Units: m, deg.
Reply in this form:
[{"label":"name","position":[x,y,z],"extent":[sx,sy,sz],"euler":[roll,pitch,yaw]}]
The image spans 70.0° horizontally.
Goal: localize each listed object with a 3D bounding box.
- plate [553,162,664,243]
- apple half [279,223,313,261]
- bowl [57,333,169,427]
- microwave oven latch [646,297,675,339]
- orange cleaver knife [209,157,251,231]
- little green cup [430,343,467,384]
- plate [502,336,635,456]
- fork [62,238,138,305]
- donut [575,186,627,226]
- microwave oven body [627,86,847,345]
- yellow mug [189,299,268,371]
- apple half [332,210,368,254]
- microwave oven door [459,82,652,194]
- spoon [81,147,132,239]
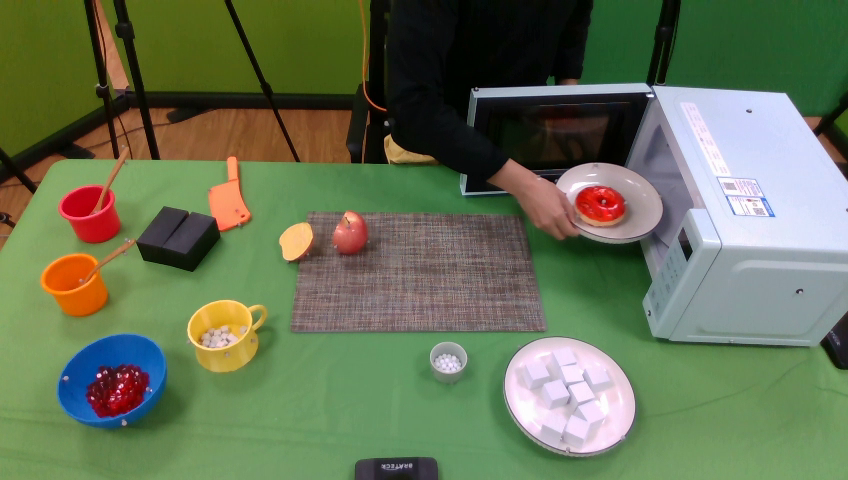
[{"label":"plate","position":[0.353,-0.069,1.174],"extent":[0.209,0.038,0.208],"euler":[1,49,-1]},{"label":"apple half","position":[-0.237,0.007,1.157],"extent":[0.081,0.033,0.081],"euler":[-13,60,23]},{"label":"bowl","position":[-0.456,0.223,0.911],"extent":[0.151,0.077,0.150],"euler":[3,45,-2]},{"label":"microwave oven latch","position":[0.412,0.134,1.061],"extent":[0.030,0.029,0.078],"euler":[4,45,1]},{"label":"orange cleaver knife","position":[-0.409,-0.099,1.266],"extent":[0.077,0.012,0.210],"euler":[-14,50,-9]},{"label":"little green cup","position":[0.039,0.203,0.994],"extent":[0.061,0.039,0.061],"euler":[2,46,-2]},{"label":"plate","position":[0.225,0.248,0.964],"extent":[0.208,0.039,0.206],"euler":[2,46,-2]},{"label":"fork","position":[-0.547,0.053,1.019],"extent":[0.207,0.019,0.028],"euler":[-36,41,23]},{"label":"donut","position":[0.338,-0.066,1.157],"extent":[0.099,0.048,0.098],"euler":[1,43,-1]},{"label":"microwave oven body","position":[0.567,-0.053,1.118],"extent":[0.326,0.261,0.439],"euler":[2,45,-1]},{"label":"yellow mug","position":[-0.316,0.148,1.002],"extent":[0.131,0.064,0.099],"euler":[-33,56,-31]},{"label":"apple half","position":[-0.136,-0.010,1.158],"extent":[0.053,0.075,0.080],"euler":[17,44,8]},{"label":"microwave oven door","position":[0.259,-0.204,1.236],"extent":[0.356,0.245,0.039],"euler":[-4,46,-7]},{"label":"spoon","position":[-0.603,-0.089,1.156],"extent":[0.041,0.022,0.193],"euler":[28,95,20]}]
